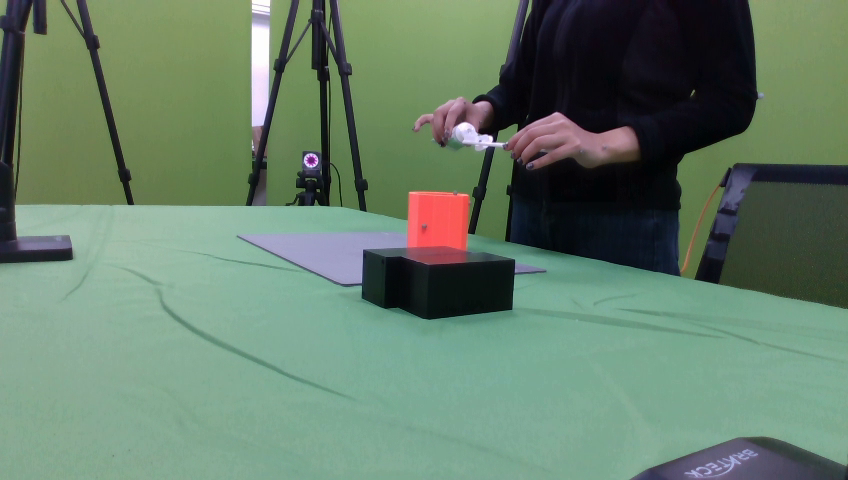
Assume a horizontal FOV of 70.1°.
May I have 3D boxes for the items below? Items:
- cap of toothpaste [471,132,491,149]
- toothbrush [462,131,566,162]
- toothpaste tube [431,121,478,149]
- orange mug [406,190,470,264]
[{"bbox_3d":[0.093,-0.164,0.992,0.037,0.011,0.037,-25,34,19],"label":"cap of toothpaste"},{"bbox_3d":[0.137,-0.147,0.946,0.181,0.014,0.017,20,23,32],"label":"toothbrush"},{"bbox_3d":[0.058,-0.183,1.073,0.055,0.034,0.164,25,-4,-14],"label":"toothpaste tube"},{"bbox_3d":[0.027,-0.023,0.866,0.083,0.101,0.126,6,12,24],"label":"orange mug"}]
